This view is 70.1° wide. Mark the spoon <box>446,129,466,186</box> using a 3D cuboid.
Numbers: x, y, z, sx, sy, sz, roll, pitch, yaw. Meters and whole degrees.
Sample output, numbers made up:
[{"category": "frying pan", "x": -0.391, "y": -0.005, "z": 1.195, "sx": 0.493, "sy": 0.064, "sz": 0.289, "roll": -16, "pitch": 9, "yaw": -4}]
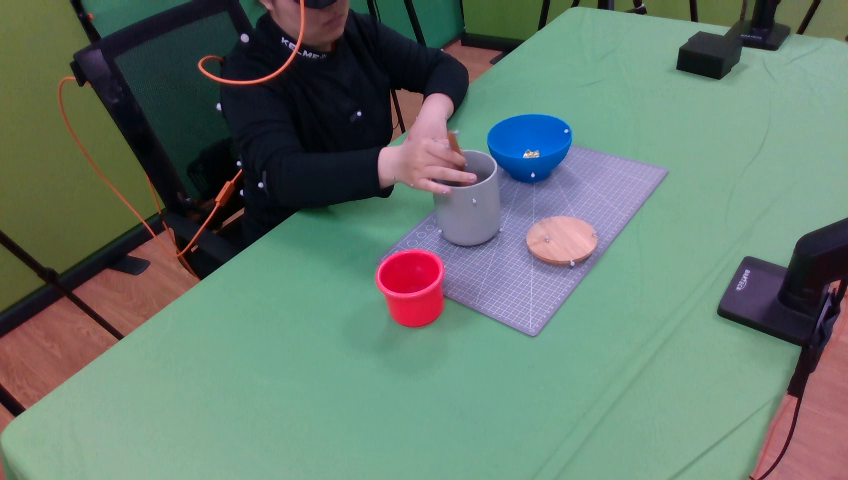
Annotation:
[{"category": "spoon", "x": 0.056, "y": -0.096, "z": 0.926, "sx": 0.041, "sy": 0.195, "sz": 0.021, "roll": 22, "pitch": 56, "yaw": 31}]

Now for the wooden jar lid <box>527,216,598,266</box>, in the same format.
[{"category": "wooden jar lid", "x": 0.214, "y": 0.003, "z": 0.937, "sx": 0.108, "sy": 0.021, "sz": 0.108, "roll": -4, "pitch": 40, "yaw": 4}]

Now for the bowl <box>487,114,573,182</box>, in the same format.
[{"category": "bowl", "x": 0.190, "y": -0.156, "z": 1.085, "sx": 0.151, "sy": 0.077, "sz": 0.150, "roll": -5, "pitch": 40, "yaw": 5}]

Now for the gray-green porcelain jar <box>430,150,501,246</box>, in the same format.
[{"category": "gray-green porcelain jar", "x": 0.069, "y": -0.062, "z": 0.959, "sx": 0.106, "sy": 0.127, "sz": 0.105, "roll": -5, "pitch": 40, "yaw": 5}]
